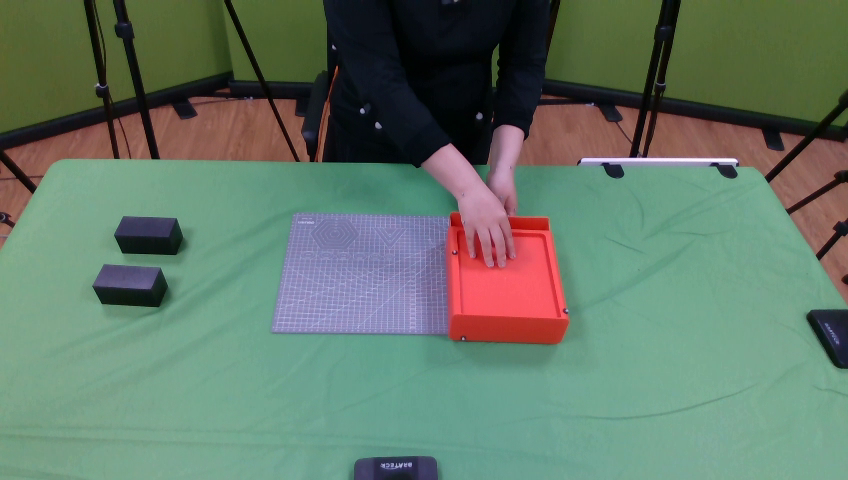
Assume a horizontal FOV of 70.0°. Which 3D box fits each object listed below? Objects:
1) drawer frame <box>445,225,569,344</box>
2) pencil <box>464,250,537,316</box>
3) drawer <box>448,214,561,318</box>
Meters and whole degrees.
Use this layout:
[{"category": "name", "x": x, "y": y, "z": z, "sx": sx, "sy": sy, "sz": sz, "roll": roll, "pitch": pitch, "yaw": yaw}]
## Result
[{"category": "drawer frame", "x": 0.141, "y": 0.076, "z": 1.090, "sx": 0.202, "sy": 0.083, "sz": 0.212, "roll": 3, "pitch": 46, "yaw": -4}, {"category": "pencil", "x": 0.138, "y": 0.075, "z": 1.121, "sx": 0.012, "sy": 0.012, "sz": 0.193, "roll": -28, "pitch": 54, "yaw": -28}, {"category": "drawer", "x": 0.141, "y": 0.051, "z": 1.117, "sx": 0.194, "sy": 0.073, "sz": 0.210, "roll": 3, "pitch": 48, "yaw": -2}]
